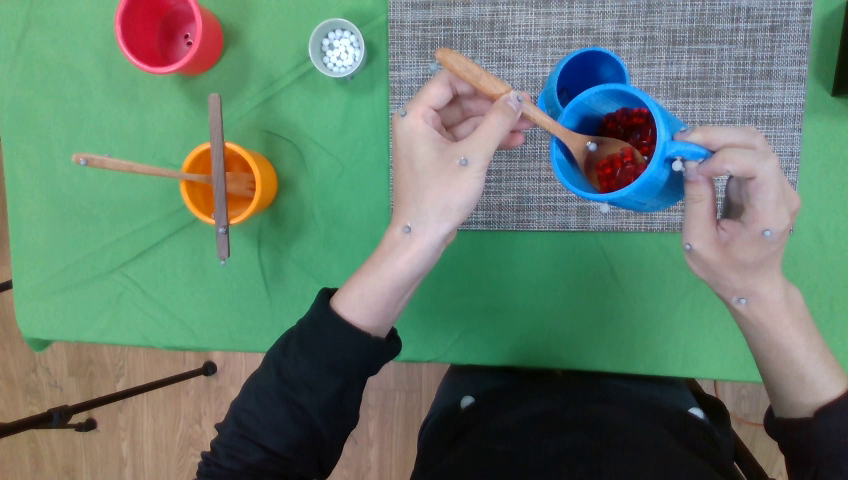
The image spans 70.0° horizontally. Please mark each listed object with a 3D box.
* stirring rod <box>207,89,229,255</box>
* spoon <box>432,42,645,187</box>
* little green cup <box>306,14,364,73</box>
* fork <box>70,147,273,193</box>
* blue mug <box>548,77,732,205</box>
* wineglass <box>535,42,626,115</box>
[{"bbox_3d":[-0.220,-0.072,0.648,0.014,0.006,0.176,1,98,6],"label":"stirring rod"},{"bbox_3d":[0.087,-0.089,0.434,0.195,0.021,0.042,25,110,-27],"label":"spoon"},{"bbox_3d":[-0.095,-0.215,0.672,0.061,0.038,0.061,1,99,6],"label":"little green cup"},{"bbox_3d":[-0.263,-0.075,0.654,0.209,0.018,0.028,6,109,-39],"label":"fork"},{"bbox_3d":[0.168,-0.068,0.454,0.115,0.106,0.082,14,97,35],"label":"blue mug"},{"bbox_3d":[0.146,-0.143,0.587,0.073,0.172,0.074,1,98,6],"label":"wineglass"}]
